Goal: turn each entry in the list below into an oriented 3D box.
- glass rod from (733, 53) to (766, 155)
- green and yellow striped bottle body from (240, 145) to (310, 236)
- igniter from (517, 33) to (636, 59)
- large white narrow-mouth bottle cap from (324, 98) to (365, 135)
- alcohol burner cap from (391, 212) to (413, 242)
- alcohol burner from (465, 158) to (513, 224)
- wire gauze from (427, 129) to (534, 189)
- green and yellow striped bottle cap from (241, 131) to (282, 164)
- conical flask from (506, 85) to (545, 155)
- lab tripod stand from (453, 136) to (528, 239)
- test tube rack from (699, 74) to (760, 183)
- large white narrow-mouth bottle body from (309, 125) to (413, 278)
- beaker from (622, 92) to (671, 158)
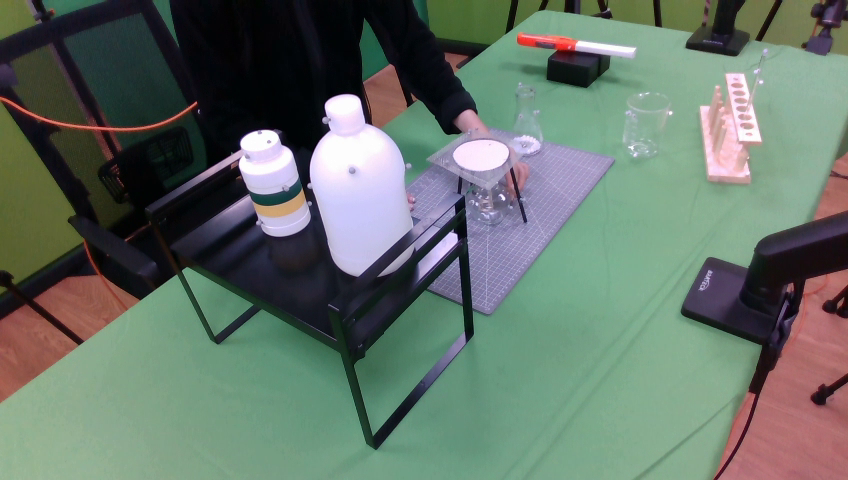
[{"bbox_3d":[0.540,-0.220,1.006,0.008,0.201,0.008,-5,45,6],"label":"glass rod"},{"bbox_3d":[-0.181,-0.068,0.729,0.063,0.120,0.063,-4,40,4],"label":"green and yellow striped bottle body"},{"bbox_3d":[0.336,-0.441,1.369,0.275,0.025,0.057,16,41,23],"label":"igniter"},{"bbox_3d":[-0.076,-0.120,0.585,0.038,0.024,0.037,-3,42,3],"label":"large white narrow-mouth bottle cap"},{"bbox_3d":[-0.038,-0.023,0.990,0.034,0.048,0.033,-5,40,4],"label":"alcohol burner cap"},{"bbox_3d":[0.105,-0.085,0.987,0.078,0.119,0.077,-5,42,5],"label":"alcohol burner"},{"bbox_3d":[0.086,-0.131,0.923,0.124,0.011,0.122,26,52,33],"label":"wire gauze"},{"bbox_3d":[-0.187,-0.107,0.695,0.045,0.020,0.045,-3,39,3],"label":"green and yellow striped bottle cap"},{"bbox_3d":[0.190,-0.227,1.134,0.075,0.122,0.075,-4,41,4],"label":"conical flask"},{"bbox_3d":[0.094,-0.086,0.974,0.148,0.132,0.147,-4,43,4],"label":"lab tripod stand"},{"bbox_3d":[0.547,-0.208,1.095,0.066,0.085,0.242,6,42,16],"label":"test tube rack"},{"bbox_3d":[-0.068,-0.057,0.645,0.102,0.195,0.101,-3,42,4],"label":"large white narrow-mouth bottle body"},{"bbox_3d":[0.402,-0.209,1.106,0.074,0.101,0.083,-9,40,-2],"label":"beaker"}]
